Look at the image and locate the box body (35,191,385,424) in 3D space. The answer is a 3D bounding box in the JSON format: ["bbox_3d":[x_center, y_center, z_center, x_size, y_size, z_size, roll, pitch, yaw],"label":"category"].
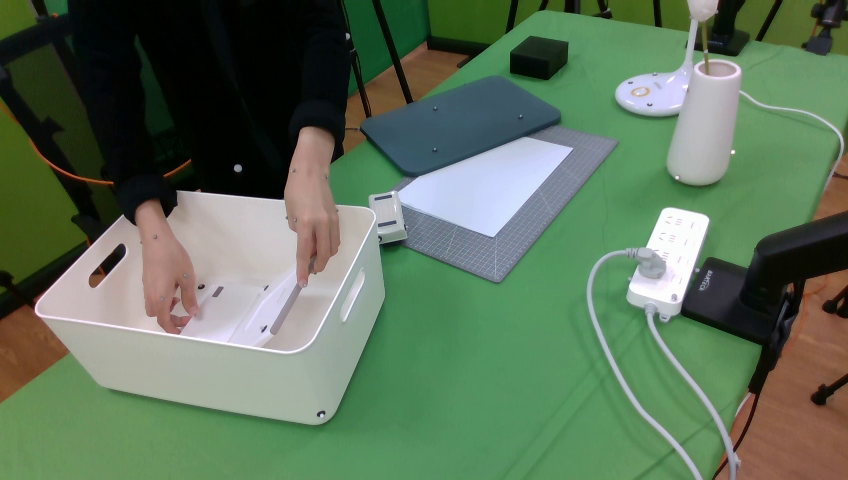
[{"bbox_3d":[-0.254,0.081,0.807,0.363,0.161,0.253,5,42,14],"label":"box body"}]

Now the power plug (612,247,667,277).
[{"bbox_3d":[0.306,0.031,0.852,0.072,0.053,0.035,21,48,38],"label":"power plug"}]

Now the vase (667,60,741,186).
[{"bbox_3d":[0.463,-0.189,0.994,0.098,0.201,0.097,-4,40,3],"label":"vase"}]

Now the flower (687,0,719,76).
[{"bbox_3d":[0.436,-0.242,0.934,0.038,0.364,0.043,-24,49,9],"label":"flower"}]

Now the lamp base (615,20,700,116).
[{"bbox_3d":[0.484,-0.364,1.211,0.180,0.181,0.159,-15,41,-14],"label":"lamp base"}]

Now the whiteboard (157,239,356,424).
[{"bbox_3d":[-0.244,0.092,0.809,0.304,0.144,0.217,6,43,14],"label":"whiteboard"}]

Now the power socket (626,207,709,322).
[{"bbox_3d":[0.360,0.026,0.886,0.072,0.033,0.227,17,46,27],"label":"power socket"}]

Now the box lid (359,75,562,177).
[{"bbox_3d":[0.074,-0.249,1.267,0.373,0.015,0.261,-23,42,-18],"label":"box lid"}]

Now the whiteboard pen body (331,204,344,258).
[{"bbox_3d":[-0.146,-0.016,1.020,0.017,0.017,0.140,-6,40,1],"label":"whiteboard pen body"}]

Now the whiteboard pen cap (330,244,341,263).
[{"bbox_3d":[-0.142,0.021,0.975,0.018,0.018,0.033,-7,39,0],"label":"whiteboard pen cap"}]

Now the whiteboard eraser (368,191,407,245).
[{"bbox_3d":[-0.061,-0.035,1.005,0.056,0.042,0.112,-9,40,-4],"label":"whiteboard eraser"}]
